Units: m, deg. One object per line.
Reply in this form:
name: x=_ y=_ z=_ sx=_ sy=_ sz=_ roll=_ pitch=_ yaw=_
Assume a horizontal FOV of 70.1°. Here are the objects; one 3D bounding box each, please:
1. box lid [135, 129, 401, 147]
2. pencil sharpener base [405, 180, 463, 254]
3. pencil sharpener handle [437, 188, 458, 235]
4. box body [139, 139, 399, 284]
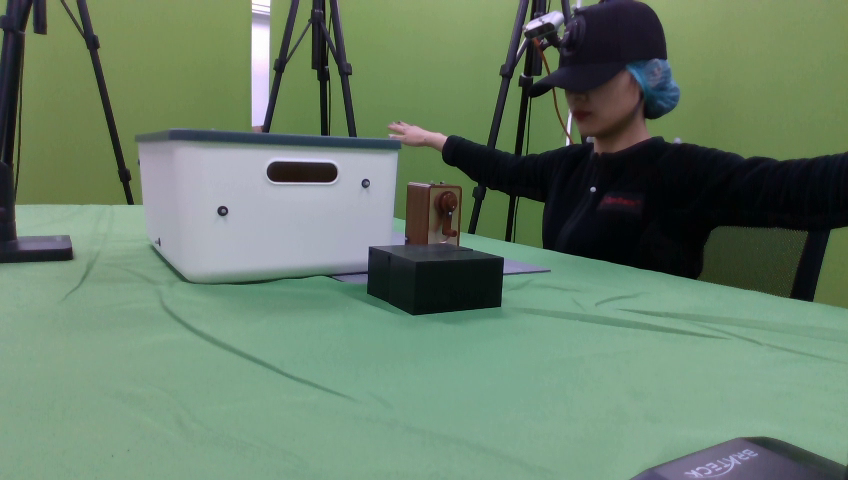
box lid: x=-0.220 y=-0.129 z=0.795 sx=0.265 sy=0.015 sz=0.369 roll=-4 pitch=9 yaw=-31
pencil sharpener base: x=0.016 y=-0.035 z=0.922 sx=0.061 sy=0.107 sz=0.076 roll=-2 pitch=9 yaw=-30
pencil sharpener handle: x=0.041 y=-0.041 z=0.877 sx=0.036 sy=0.067 sz=0.030 roll=1 pitch=7 yaw=-30
box body: x=-0.222 y=-0.056 z=0.807 sx=0.255 sy=0.160 sz=0.362 roll=-3 pitch=9 yaw=-31
